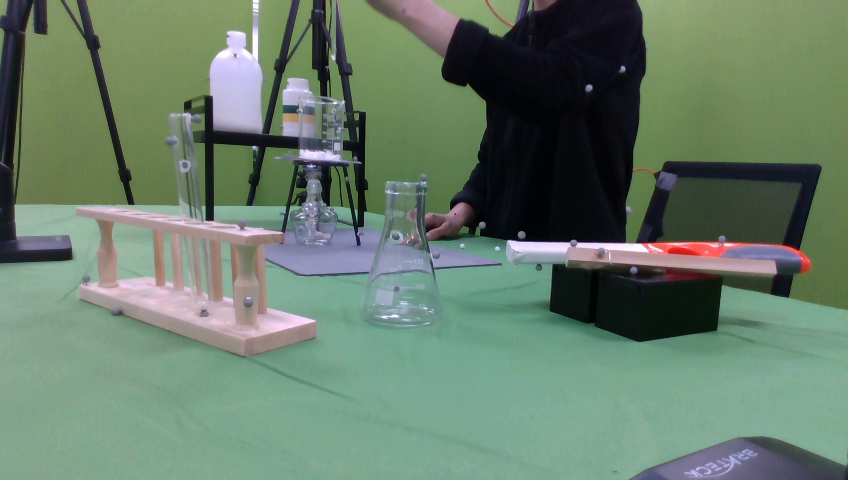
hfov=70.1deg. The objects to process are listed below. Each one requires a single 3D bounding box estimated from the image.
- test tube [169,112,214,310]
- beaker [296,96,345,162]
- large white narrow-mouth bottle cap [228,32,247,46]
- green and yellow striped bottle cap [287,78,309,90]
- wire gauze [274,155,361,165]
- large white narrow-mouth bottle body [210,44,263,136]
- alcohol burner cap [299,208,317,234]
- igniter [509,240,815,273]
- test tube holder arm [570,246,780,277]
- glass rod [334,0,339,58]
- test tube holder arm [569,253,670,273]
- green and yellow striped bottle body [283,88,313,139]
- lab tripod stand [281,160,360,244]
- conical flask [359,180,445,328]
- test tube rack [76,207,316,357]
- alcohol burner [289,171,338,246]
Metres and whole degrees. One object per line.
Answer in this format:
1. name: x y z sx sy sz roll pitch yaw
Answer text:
1. test tube: -0.175 -0.020 0.455 0.017 0.150 0.017 -3 9 1
2. beaker: -0.163 -0.175 0.966 0.083 0.100 0.074 7 8 34
3. large white narrow-mouth bottle cap: -0.364 -0.391 1.180 0.038 0.024 0.037 3 8 0
4. green and yellow striped bottle cap: -0.265 -0.326 1.268 0.045 0.020 0.045 4 6 0
5. wire gauze: -0.174 -0.129 0.978 0.125 0.011 0.121 -2 6 -19
6. large white narrow-mouth bottle body: -0.369 -0.305 1.194 0.102 0.194 0.102 3 8 0
7. alcohol burner cap: -0.213 -0.035 1.109 0.034 0.048 0.034 2 7 0
8. igniter: 0.220 0.015 0.566 0.277 0.025 0.057 2 16 0
9. test tube holder arm: 0.217 0.019 0.525 0.178 0.015 0.013 3 -23 3
10. glass rod: -0.121 -0.356 0.842 0.008 0.199 0.008 3 25 -1
11. test tube holder arm: 0.172 0.019 0.532 0.088 0.015 0.010 3 -23 3
12. green and yellow striped bottle body: -0.266 -0.275 1.275 0.063 0.119 0.063 3 7 0
13. lab tripod stand: -0.170 -0.063 0.983 0.148 0.131 0.148 1 6 0
14. conical flask: -0.017 0.010 0.522 0.075 0.122 0.075 2 7 0
15. test tube rack: -0.196 0.023 0.500 0.241 0.085 0.067 8 9 36
16. alcohol burner: -0.177 -0.051 0.968 0.078 0.119 0.078 0 6 0
